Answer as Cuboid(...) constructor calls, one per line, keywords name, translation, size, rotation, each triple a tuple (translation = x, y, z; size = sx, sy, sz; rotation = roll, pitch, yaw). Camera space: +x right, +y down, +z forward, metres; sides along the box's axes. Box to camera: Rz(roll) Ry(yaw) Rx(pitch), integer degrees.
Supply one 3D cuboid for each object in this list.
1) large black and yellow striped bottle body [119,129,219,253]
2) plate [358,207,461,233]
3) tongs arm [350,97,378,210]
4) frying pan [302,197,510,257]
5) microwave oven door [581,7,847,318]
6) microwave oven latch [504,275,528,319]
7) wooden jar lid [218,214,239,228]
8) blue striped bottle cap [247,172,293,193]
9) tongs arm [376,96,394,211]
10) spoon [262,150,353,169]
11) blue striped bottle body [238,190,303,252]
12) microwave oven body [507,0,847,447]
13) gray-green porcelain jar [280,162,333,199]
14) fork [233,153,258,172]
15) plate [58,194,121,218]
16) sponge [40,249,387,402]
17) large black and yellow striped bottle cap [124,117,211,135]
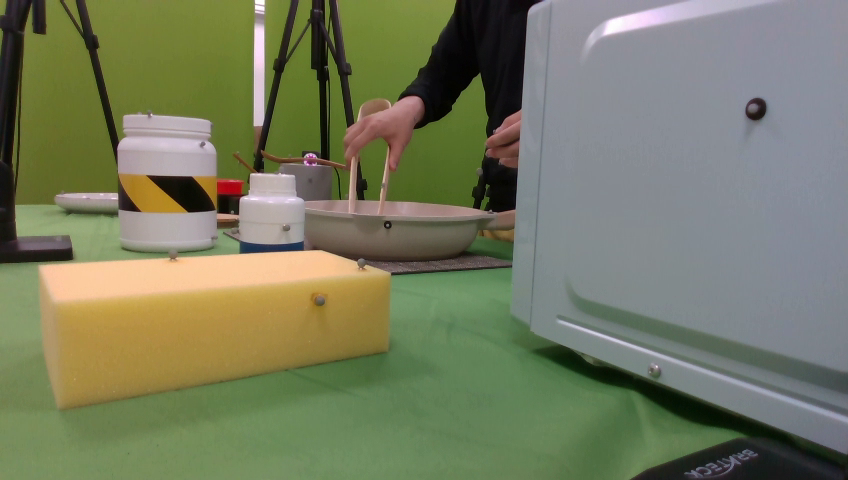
Cuboid(name="large black and yellow striped bottle body", translation=(-0.367, -0.080, 0.876), size=(0.131, 0.184, 0.130), rotation=(1, 7, 0))
Cuboid(name="plate", translation=(-0.030, -0.041, 1.213), size=(0.208, 0.039, 0.207), rotation=(3, 6, 0))
Cuboid(name="tongs arm", translation=(-0.106, -0.149, 1.053), size=(0.028, 0.028, 0.386), rotation=(-11, 39, 9))
Cuboid(name="frying pan", translation=(0.051, -0.035, 0.915), size=(0.487, 0.102, 0.307), rotation=(-5, 7, 11))
Cuboid(name="microwave oven door", translation=(0.295, -0.067, 0.569), size=(0.358, 0.243, 0.039), rotation=(-3, 8, -31))
Cuboid(name="microwave oven latch", translation=(0.100, 0.041, 0.471), size=(0.079, 0.029, 0.030), rotation=(-1, 7, -28))
Cuboid(name="wooden jar lid", translation=(-0.404, -0.037, 1.169), size=(0.108, 0.020, 0.108), rotation=(3, 7, 0))
Cuboid(name="blue striped bottle cap", translation=(-0.152, -0.057, 0.598), size=(0.044, 0.020, 0.044), rotation=(3, 6, 0))
Cuboid(name="tongs arm", translation=(-0.079, -0.153, 1.051), size=(0.051, 0.026, 0.384), rotation=(-6, 39, 9))
Cuboid(name="spoon", translation=(-0.229, -0.161, 1.222), size=(0.194, 0.021, 0.041), rotation=(4, 4, -16))
Cuboid(name="blue striped bottle body", translation=(-0.153, -0.007, 0.606), size=(0.063, 0.120, 0.063), rotation=(2, 8, 0))
Cuboid(name="microwave oven body", translation=(0.331, -0.042, 0.425), size=(0.444, 0.260, 0.324), rotation=(-2, 8, -31))
Cuboid(name="gray-green porcelain jar", translation=(-0.238, -0.092, 1.221), size=(0.106, 0.126, 0.106), rotation=(2, 7, 0))
Cuboid(name="fork", translation=(-0.396, -0.143, 1.486), size=(0.028, 0.018, 0.208), rotation=(20, -26, 45))
Cuboid(name="plate", translation=(-0.671, -0.074, 1.310), size=(0.209, 0.038, 0.209), rotation=(2, 8, 0))
Cuboid(name="sponge", translation=(-0.142, 0.047, 0.420), size=(0.208, 0.061, 0.117), rotation=(-3, 8, -36))
Cuboid(name="large black and yellow striped bottle cap", translation=(-0.366, -0.163, 0.866), size=(0.115, 0.019, 0.115), rotation=(3, 7, 0))
